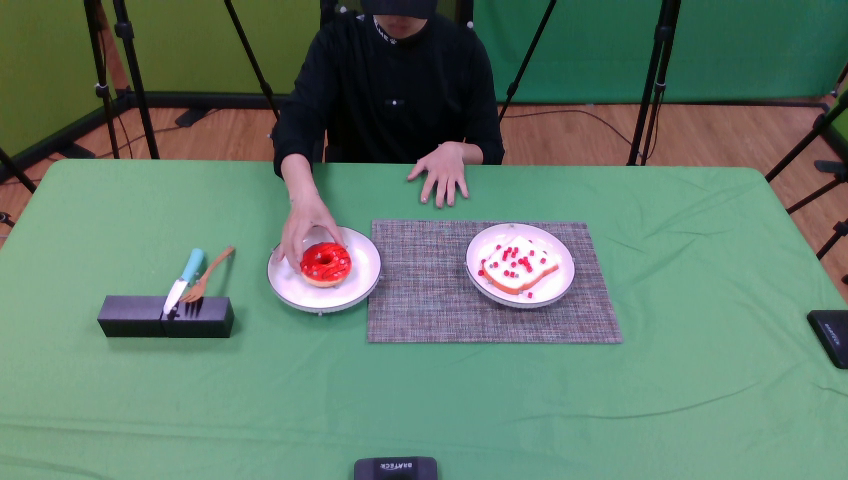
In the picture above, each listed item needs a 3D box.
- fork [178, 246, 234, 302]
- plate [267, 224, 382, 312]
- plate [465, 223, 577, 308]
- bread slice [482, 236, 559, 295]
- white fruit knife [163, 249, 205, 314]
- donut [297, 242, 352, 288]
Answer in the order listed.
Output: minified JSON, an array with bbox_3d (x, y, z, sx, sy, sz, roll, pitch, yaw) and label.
[{"bbox_3d":[-0.380,0.057,1.075,0.028,0.019,0.206,2,28,6],"label":"fork"},{"bbox_3d":[-0.182,0.054,1.120,0.208,0.039,0.206,2,46,-2],"label":"plate"},{"bbox_3d":[0.180,0.051,1.144,0.209,0.038,0.208,2,45,-2],"label":"plate"},{"bbox_3d":[0.177,0.050,1.148,0.131,0.019,0.104,-31,55,-31],"label":"bread slice"},{"bbox_3d":[-0.420,0.070,1.063,0.027,0.016,0.206,-1,29,-2],"label":"white fruit knife"},{"bbox_3d":[-0.182,0.046,1.112,0.099,0.048,0.098,2,45,-1],"label":"donut"}]
